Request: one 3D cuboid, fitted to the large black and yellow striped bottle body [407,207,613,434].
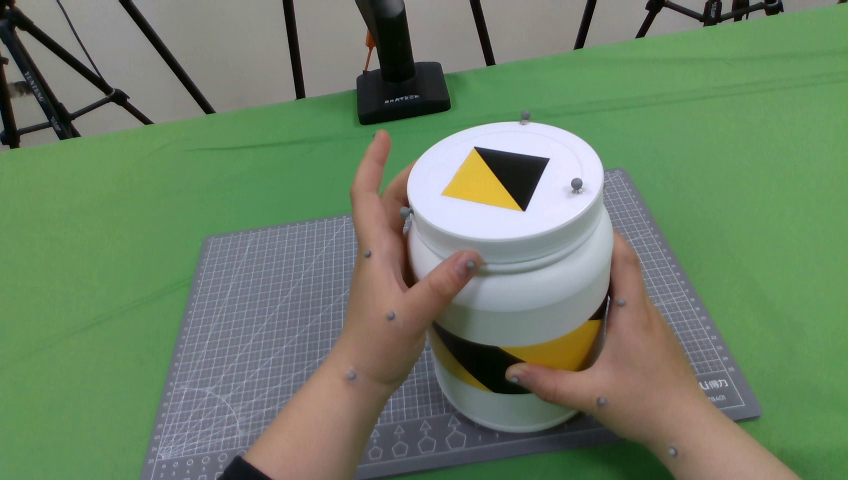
[{"bbox_3d":[0.059,0.031,0.415,0.130,0.186,0.129,-6,42,6],"label":"large black and yellow striped bottle body"}]

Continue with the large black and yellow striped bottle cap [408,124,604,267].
[{"bbox_3d":[0.047,-0.030,0.358,0.115,0.019,0.114,-7,42,7],"label":"large black and yellow striped bottle cap"}]
